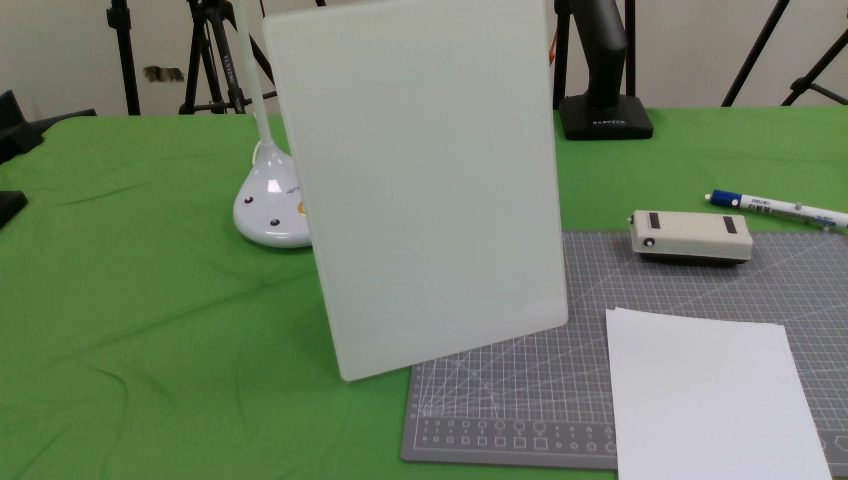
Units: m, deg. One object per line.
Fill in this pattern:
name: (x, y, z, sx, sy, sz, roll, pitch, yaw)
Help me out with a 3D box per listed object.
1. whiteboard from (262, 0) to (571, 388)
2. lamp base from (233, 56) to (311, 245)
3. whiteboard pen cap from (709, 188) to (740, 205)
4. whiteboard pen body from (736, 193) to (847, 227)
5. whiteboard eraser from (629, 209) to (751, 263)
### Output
whiteboard: (-0.004, -0.057, 0.558, 0.217, 0.307, 0.142, -13, 19, -10)
lamp base: (-0.163, -0.111, 0.696, 0.160, 0.182, 0.177, -32, 43, -32)
whiteboard pen cap: (0.352, -0.050, 0.709, 0.033, 0.018, 0.018, 15, 41, 27)
whiteboard pen body: (0.404, -0.037, 0.683, 0.140, 0.017, 0.017, 15, 41, 26)
whiteboard eraser: (0.274, -0.004, 0.631, 0.112, 0.042, 0.055, 4, 39, 10)
